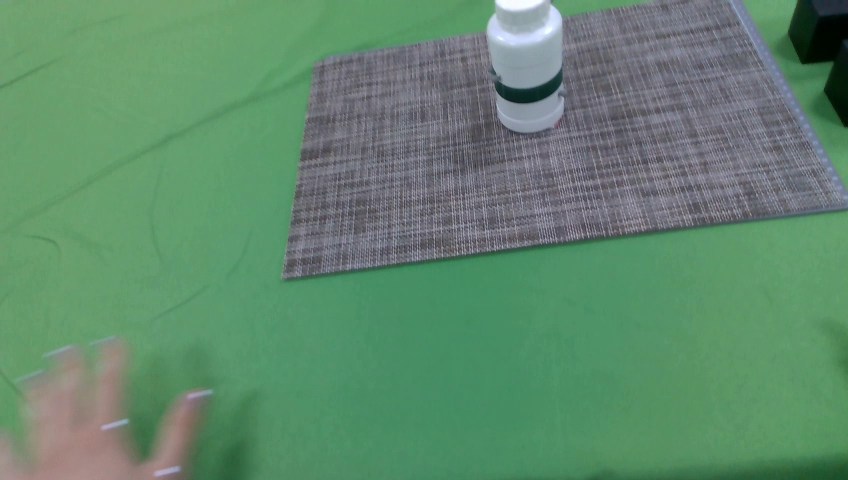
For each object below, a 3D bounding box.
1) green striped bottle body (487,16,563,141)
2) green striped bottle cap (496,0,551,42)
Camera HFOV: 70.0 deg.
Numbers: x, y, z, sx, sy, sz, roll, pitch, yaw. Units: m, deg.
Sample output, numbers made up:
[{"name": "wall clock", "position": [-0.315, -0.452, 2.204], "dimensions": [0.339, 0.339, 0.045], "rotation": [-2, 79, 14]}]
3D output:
[{"name": "green striped bottle body", "position": [0.090, -0.152, 0.536], "dimensions": [0.063, 0.120, 0.062], "rotation": [-7, 51, 9]}, {"name": "green striped bottle cap", "position": [0.081, -0.183, 0.495], "dimensions": [0.044, 0.020, 0.044], "rotation": [-8, 53, 11]}]
